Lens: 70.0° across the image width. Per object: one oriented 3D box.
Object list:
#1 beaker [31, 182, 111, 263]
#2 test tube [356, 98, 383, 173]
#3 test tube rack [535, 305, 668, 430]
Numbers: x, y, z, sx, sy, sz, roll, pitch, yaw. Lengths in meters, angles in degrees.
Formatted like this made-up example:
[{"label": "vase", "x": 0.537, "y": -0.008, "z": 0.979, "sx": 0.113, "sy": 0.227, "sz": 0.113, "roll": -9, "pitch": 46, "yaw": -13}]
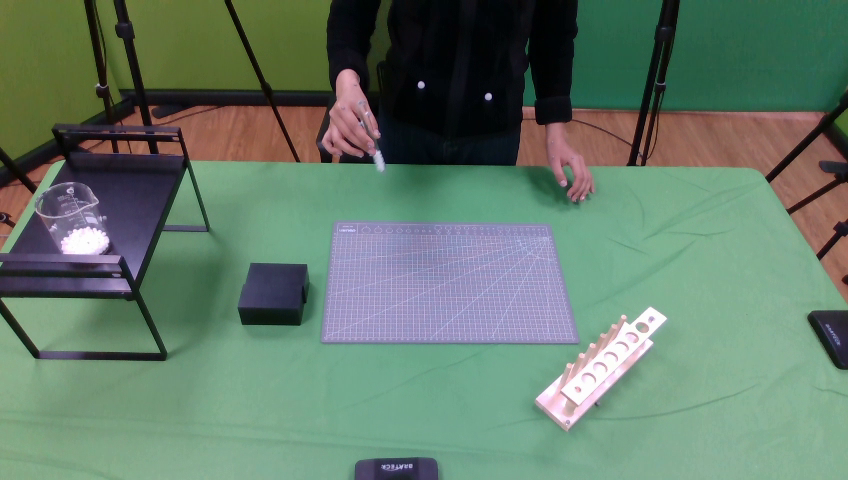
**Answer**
[{"label": "beaker", "x": -0.502, "y": -0.022, "z": 0.877, "sx": 0.084, "sy": 0.101, "sz": 0.073, "roll": -2, "pitch": 47, "yaw": -7}, {"label": "test tube", "x": -0.093, "y": -0.177, "z": 1.047, "sx": 0.017, "sy": 0.151, "sz": 0.017, "roll": -7, "pitch": 43, "yaw": 6}, {"label": "test tube rack", "x": 0.290, "y": 0.193, "z": 0.984, "sx": 0.242, "sy": 0.085, "sz": 0.066, "roll": -32, "pitch": 56, "yaw": -30}]
